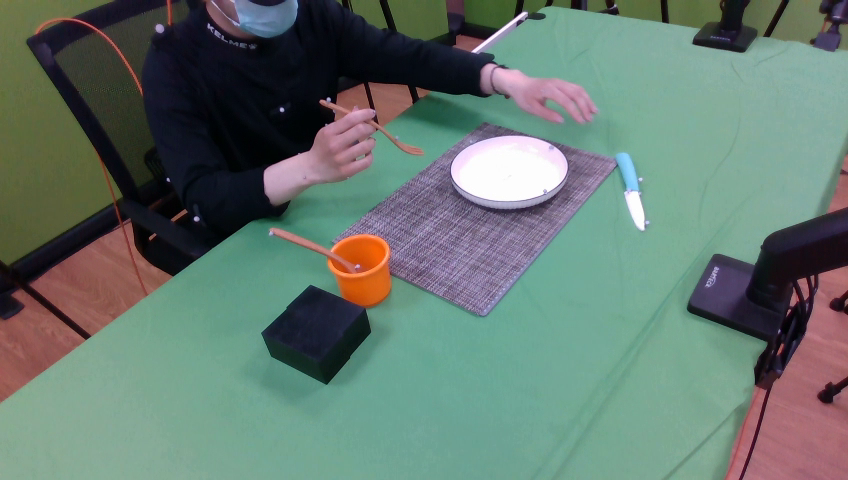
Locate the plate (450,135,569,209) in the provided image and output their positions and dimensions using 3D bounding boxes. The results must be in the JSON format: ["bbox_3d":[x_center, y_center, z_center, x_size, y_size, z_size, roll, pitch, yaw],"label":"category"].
[{"bbox_3d":[0.149,-0.117,1.066,0.209,0.038,0.208,-3,41,3],"label":"plate"}]

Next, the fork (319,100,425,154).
[{"bbox_3d":[-0.079,-0.178,0.964,0.018,0.209,0.028,-50,42,18],"label":"fork"}]

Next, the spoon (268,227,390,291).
[{"bbox_3d":[-0.132,0.025,0.862,0.021,0.195,0.041,-41,31,32],"label":"spoon"}]

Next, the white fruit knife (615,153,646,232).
[{"bbox_3d":[0.352,-0.084,1.023,0.027,0.016,0.206,-19,40,23],"label":"white fruit knife"}]
